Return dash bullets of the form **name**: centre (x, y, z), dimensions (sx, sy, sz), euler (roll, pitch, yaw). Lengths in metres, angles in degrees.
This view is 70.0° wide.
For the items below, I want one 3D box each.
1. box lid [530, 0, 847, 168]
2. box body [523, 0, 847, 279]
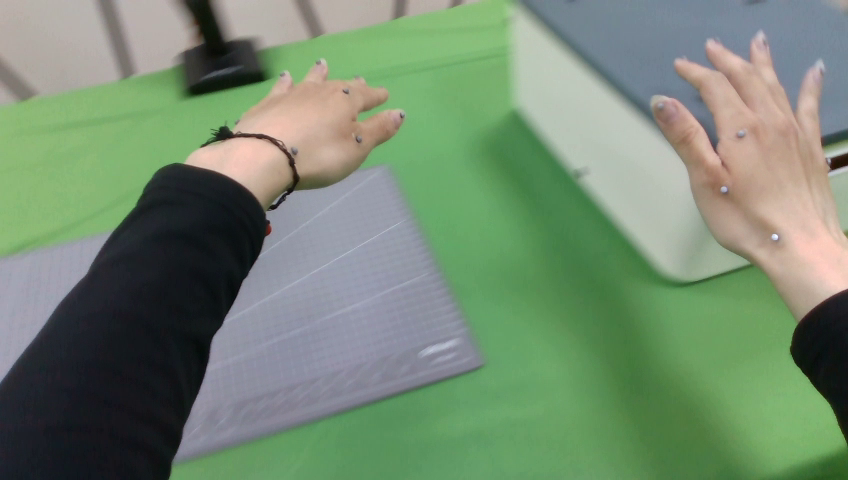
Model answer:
- **box lid**: centre (0.275, -0.203, 0.568), dimensions (0.264, 0.015, 0.367), euler (-16, 47, -10)
- **box body**: centre (0.280, -0.153, 0.623), dimensions (0.254, 0.162, 0.359), euler (-16, 47, -10)
